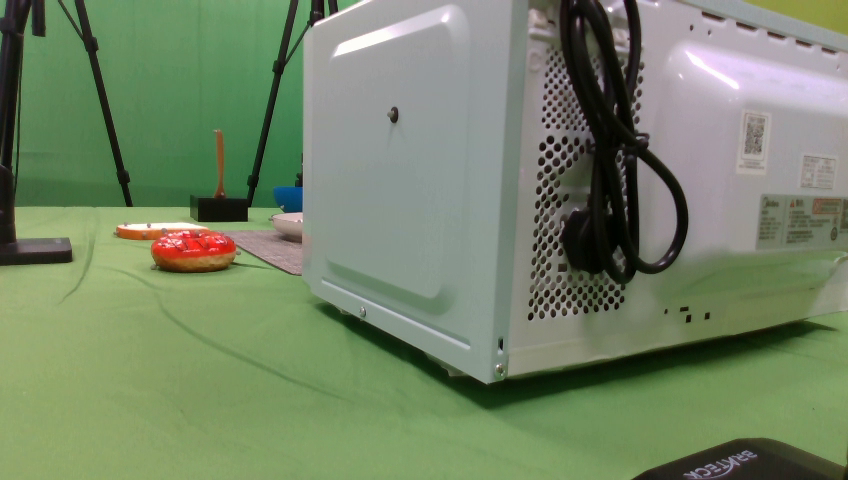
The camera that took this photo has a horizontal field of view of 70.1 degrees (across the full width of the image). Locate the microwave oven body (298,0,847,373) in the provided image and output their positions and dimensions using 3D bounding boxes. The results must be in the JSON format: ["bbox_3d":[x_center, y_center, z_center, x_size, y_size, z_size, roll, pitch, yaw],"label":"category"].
[{"bbox_3d":[0.151,-0.055,0.542,0.444,0.260,0.324,-2,7,-33],"label":"microwave oven body"}]

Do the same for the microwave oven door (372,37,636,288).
[{"bbox_3d":[0.110,-0.080,0.686,0.358,0.243,0.039,-2,9,-33],"label":"microwave oven door"}]

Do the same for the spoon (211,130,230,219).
[{"bbox_3d":[-0.436,-0.138,1.296,0.042,0.193,0.021,-3,23,-27],"label":"spoon"}]

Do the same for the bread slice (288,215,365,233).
[{"bbox_3d":[-0.169,-0.028,1.058,0.134,0.018,0.107,-4,8,-7],"label":"bread slice"}]

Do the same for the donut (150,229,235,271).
[{"bbox_3d":[-0.285,0.013,0.747,0.099,0.048,0.099,3,10,0],"label":"donut"}]

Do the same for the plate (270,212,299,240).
[{"bbox_3d":[-0.162,-0.022,1.058,0.208,0.039,0.207,3,7,0],"label":"plate"}]

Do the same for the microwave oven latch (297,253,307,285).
[{"bbox_3d":[-0.082,0.027,0.582,0.079,0.029,0.030,-1,7,-32],"label":"microwave oven latch"}]

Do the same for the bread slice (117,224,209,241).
[{"bbox_3d":[-0.443,-0.015,1.022,0.132,0.019,0.104,-3,8,-45],"label":"bread slice"}]

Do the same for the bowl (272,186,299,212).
[{"bbox_3d":[-0.254,-0.075,1.318,0.151,0.077,0.151,2,7,0],"label":"bowl"}]
